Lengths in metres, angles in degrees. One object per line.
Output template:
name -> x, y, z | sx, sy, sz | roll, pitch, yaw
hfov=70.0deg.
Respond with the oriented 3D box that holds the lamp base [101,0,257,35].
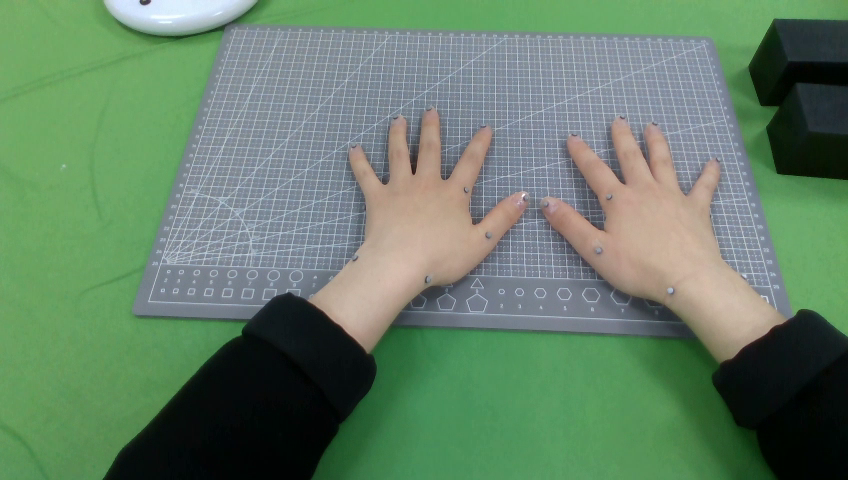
lamp base -> -0.242, -0.305, 0.531 | 0.160, 0.182, 0.177 | -35, 62, -19
